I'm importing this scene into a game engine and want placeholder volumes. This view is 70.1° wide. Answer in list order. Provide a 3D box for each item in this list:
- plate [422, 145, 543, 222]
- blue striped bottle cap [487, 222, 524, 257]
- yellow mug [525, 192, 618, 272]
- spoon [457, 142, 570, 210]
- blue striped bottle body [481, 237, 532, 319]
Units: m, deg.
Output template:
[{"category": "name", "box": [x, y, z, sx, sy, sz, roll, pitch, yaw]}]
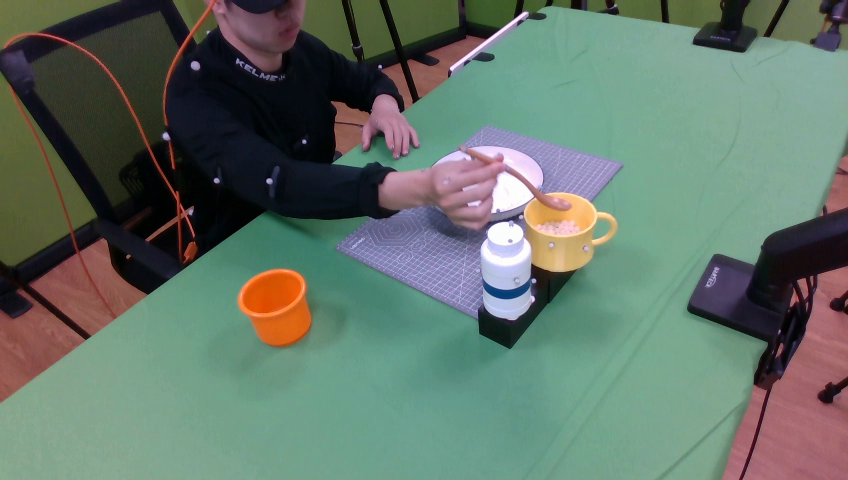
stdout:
[{"category": "plate", "box": [0.101, -0.094, 1.048, 0.207, 0.039, 0.206, -4, 41, 4]}, {"category": "blue striped bottle cap", "box": [0.097, -0.001, 0.722, 0.044, 0.021, 0.044, -2, 39, 2]}, {"category": "yellow mug", "box": [0.206, -0.014, 0.845, 0.131, 0.064, 0.099, -4, 41, 2]}, {"category": "spoon", "box": [0.119, -0.084, 0.788, 0.021, 0.195, 0.041, -50, 31, 19]}, {"category": "blue striped bottle body", "box": [0.104, 0.037, 0.756, 0.063, 0.121, 0.063, -4, 40, 4]}]
